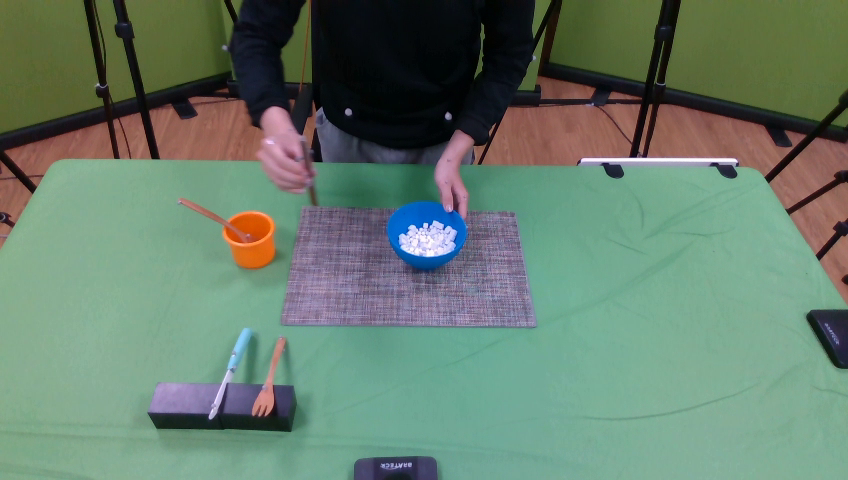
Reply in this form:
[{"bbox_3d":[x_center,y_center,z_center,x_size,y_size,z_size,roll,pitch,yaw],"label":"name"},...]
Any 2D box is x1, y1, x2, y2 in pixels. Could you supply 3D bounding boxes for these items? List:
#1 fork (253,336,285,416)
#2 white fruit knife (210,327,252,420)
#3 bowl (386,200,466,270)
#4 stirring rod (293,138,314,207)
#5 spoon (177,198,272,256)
[{"bbox_3d":[-0.235,0.206,0.938,0.028,0.019,0.206,-3,26,-2],"label":"fork"},{"bbox_3d":[-0.298,0.200,0.937,0.016,0.027,0.206,0,30,0],"label":"white fruit knife"},{"bbox_3d":[0.001,0.003,1.150,0.151,0.077,0.150,2,46,-2],"label":"bowl"},{"bbox_3d":[-0.184,-0.099,0.929,0.014,0.177,0.006,30,64,12],"label":"stirring rod"},{"bbox_3d":[-0.361,-0.025,1.107,0.021,0.195,0.041,-30,38,31],"label":"spoon"}]
